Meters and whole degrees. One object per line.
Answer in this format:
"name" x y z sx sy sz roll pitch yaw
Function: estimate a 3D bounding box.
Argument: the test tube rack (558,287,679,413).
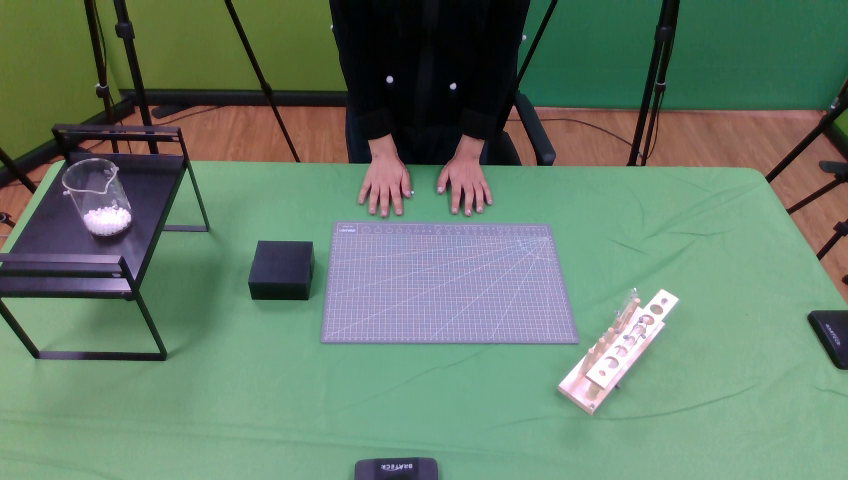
"test tube rack" 0.326 0.170 1.009 0.066 0.085 0.242 36 54 27

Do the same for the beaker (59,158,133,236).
"beaker" -0.488 -0.060 0.915 0.074 0.101 0.083 -35 58 -31

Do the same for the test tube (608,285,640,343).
"test tube" 0.324 0.123 0.992 0.017 0.151 0.017 2 48 -2

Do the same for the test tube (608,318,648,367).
"test tube" 0.311 0.169 0.941 0.017 0.151 0.017 5 48 -5
